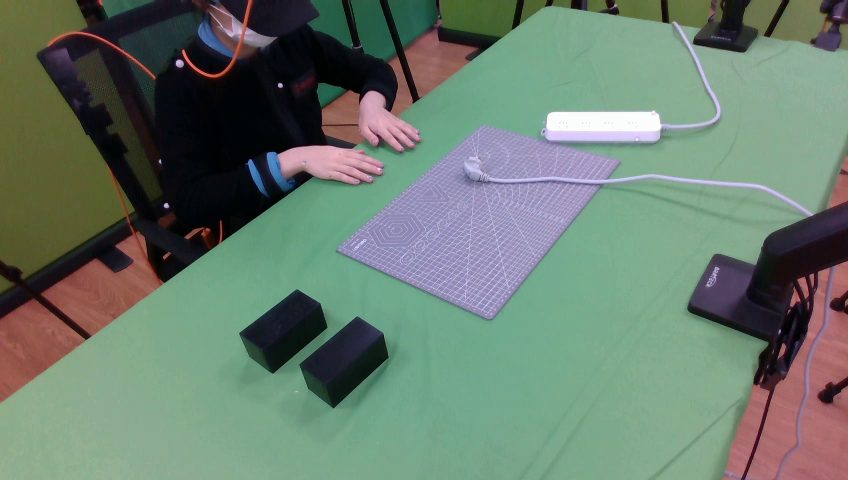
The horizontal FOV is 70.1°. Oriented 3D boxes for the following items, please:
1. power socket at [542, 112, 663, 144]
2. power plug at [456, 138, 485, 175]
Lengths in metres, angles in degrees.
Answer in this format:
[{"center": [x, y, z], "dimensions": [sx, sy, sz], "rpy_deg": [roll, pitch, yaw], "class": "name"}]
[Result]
[{"center": [0.342, -0.216, 1.164], "dimensions": [0.226, 0.033, 0.072], "rpy_deg": [3, 43, 12], "class": "power socket"}, {"center": [0.080, -0.152, 1.087], "dimensions": [0.052, 0.073, 0.035], "rpy_deg": [-14, 16, 45], "class": "power plug"}]
